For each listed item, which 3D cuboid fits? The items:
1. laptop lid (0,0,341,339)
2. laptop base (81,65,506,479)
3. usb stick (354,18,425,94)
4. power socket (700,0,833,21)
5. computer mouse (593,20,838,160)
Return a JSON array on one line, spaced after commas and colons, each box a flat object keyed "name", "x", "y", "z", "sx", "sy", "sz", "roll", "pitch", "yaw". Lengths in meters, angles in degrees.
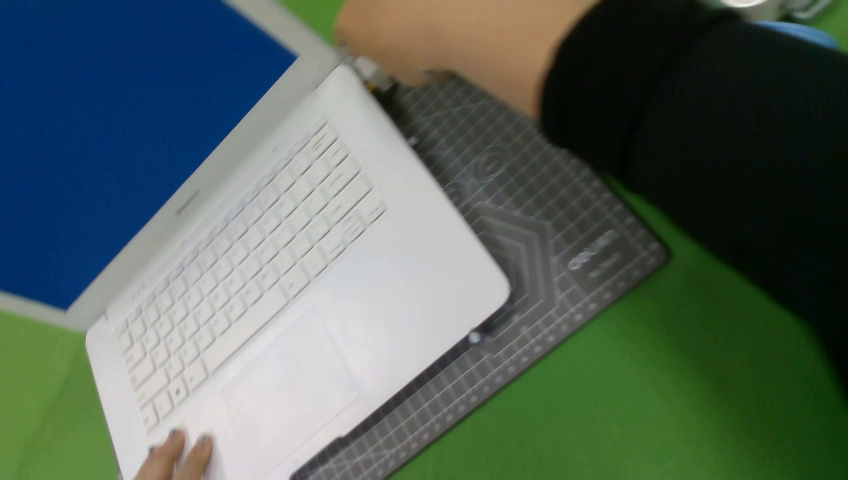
[{"name": "laptop lid", "x": -0.255, "y": -0.067, "z": 0.430, "sx": 0.357, "sy": 0.244, "sz": 0.013, "roll": -43, "pitch": 46, "yaw": 16}, {"name": "laptop base", "x": -0.127, "y": 0.063, "z": 0.457, "sx": 0.354, "sy": 0.023, "sz": 0.233, "roll": -43, "pitch": 63, "yaw": 15}, {"name": "usb stick", "x": -0.030, "y": -0.127, "z": 0.435, "sx": 0.059, "sy": 0.027, "sz": 0.021, "roll": -43, "pitch": 62, "yaw": 17}, {"name": "power socket", "x": 0.147, "y": -0.207, "z": 0.351, "sx": 0.072, "sy": 0.033, "sz": 0.224, "roll": -40, "pitch": 59, "yaw": 17}, {"name": "computer mouse", "x": 0.145, "y": -0.079, "z": 0.317, "sx": 0.116, "sy": 0.041, "sz": 0.062, "roll": 14, "pitch": 87, "yaw": 38}]
